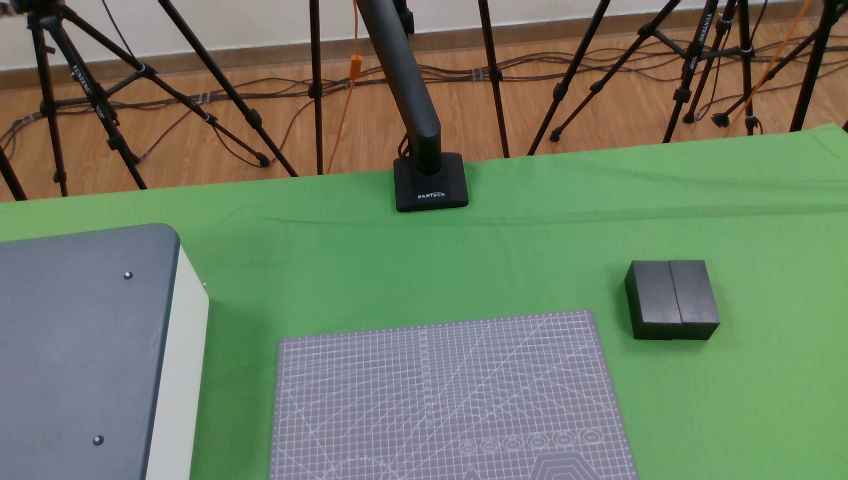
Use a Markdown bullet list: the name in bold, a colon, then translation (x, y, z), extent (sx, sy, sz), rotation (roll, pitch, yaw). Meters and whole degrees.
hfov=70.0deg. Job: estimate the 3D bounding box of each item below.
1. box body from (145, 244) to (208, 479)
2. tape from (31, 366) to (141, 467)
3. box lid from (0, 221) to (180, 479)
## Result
- **box body**: translation (-0.424, 0.181, 0.747), extent (0.254, 0.162, 0.360), rotation (-7, 55, -2)
- **tape**: translation (-0.430, 0.225, 0.775), extent (0.117, 0.053, 0.115), rotation (-3, 53, 4)
- **box lid**: translation (-0.427, 0.136, 0.688), extent (0.263, 0.015, 0.367), rotation (-7, 56, -2)
